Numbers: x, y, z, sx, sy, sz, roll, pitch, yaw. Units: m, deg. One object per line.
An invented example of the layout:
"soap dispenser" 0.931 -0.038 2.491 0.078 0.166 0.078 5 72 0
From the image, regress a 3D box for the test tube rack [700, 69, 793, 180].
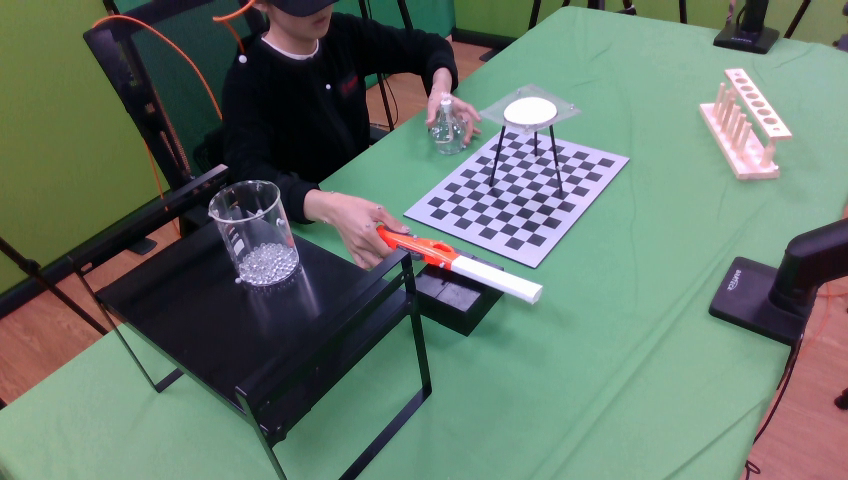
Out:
"test tube rack" 0.571 -0.215 1.089 0.066 0.085 0.241 -3 41 7

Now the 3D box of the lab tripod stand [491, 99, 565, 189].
"lab tripod stand" 0.184 -0.163 1.046 0.148 0.132 0.147 -5 42 5

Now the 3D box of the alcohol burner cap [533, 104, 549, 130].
"alcohol burner cap" 0.235 -0.251 1.217 0.034 0.048 0.033 -5 41 5

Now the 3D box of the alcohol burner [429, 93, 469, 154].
"alcohol burner" 0.047 -0.228 1.164 0.078 0.119 0.077 -3 39 3

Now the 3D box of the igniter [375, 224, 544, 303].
"igniter" 0.039 0.028 0.860 0.274 0.025 0.057 21 34 28

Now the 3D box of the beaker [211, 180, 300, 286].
"beaker" -0.183 -0.007 0.674 0.074 0.101 0.083 -1 40 7

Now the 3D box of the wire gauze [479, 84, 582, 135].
"wire gauze" 0.176 -0.216 1.006 0.125 0.011 0.120 -29 46 -22
